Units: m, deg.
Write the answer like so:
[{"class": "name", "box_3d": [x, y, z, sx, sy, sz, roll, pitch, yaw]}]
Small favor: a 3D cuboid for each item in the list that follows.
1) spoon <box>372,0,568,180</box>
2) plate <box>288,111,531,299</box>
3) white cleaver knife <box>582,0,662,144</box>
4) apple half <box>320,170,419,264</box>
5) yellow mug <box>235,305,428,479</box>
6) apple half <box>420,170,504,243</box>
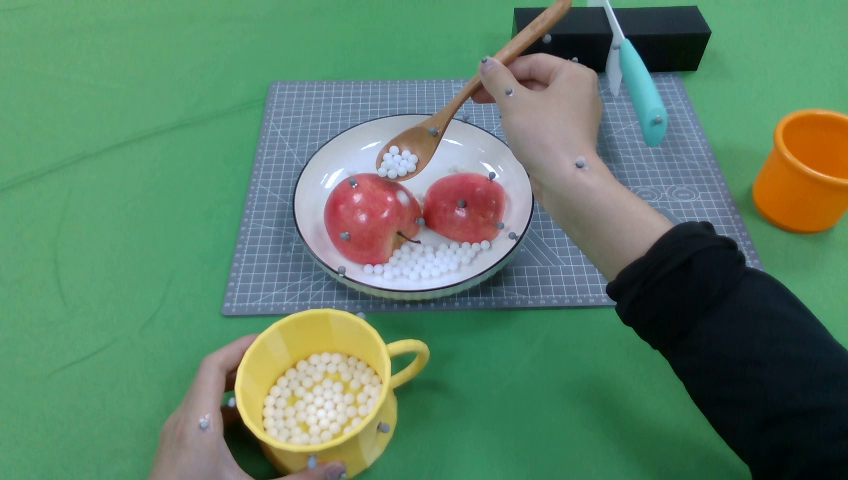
[{"class": "spoon", "box_3d": [0.033, -0.115, 0.466, 0.194, 0.022, 0.041, -42, 64, 20]}, {"class": "plate", "box_3d": [-0.012, -0.032, 0.532, 0.209, 0.038, 0.207, 0, 53, 0]}, {"class": "white cleaver knife", "box_3d": [0.201, -0.194, 0.637, 0.021, 0.066, 0.283, -4, 49, 4]}, {"class": "apple half", "box_3d": [-0.047, -0.028, 0.509, 0.081, 0.054, 0.074, -38, 59, -25]}, {"class": "yellow mug", "box_3d": [-0.057, 0.098, 0.418, 0.131, 0.064, 0.099, -20, 56, -16]}, {"class": "apple half", "box_3d": [0.033, -0.038, 0.527, 0.081, 0.033, 0.080, 0, 55, 0]}]
